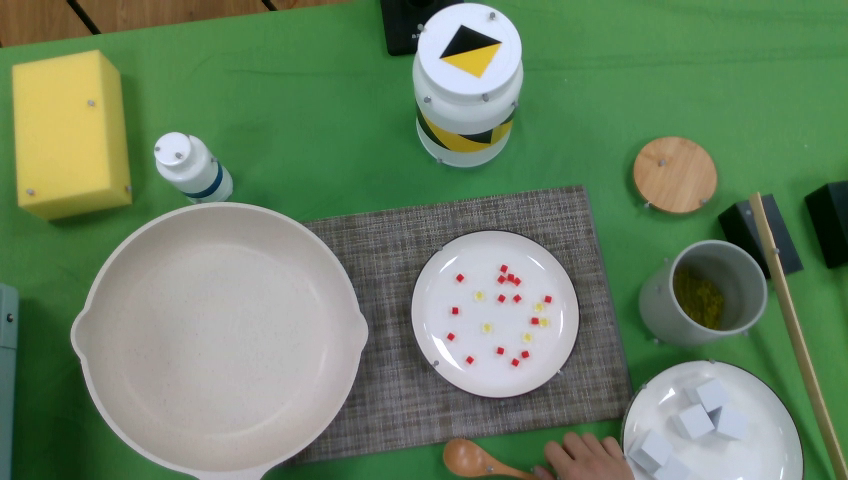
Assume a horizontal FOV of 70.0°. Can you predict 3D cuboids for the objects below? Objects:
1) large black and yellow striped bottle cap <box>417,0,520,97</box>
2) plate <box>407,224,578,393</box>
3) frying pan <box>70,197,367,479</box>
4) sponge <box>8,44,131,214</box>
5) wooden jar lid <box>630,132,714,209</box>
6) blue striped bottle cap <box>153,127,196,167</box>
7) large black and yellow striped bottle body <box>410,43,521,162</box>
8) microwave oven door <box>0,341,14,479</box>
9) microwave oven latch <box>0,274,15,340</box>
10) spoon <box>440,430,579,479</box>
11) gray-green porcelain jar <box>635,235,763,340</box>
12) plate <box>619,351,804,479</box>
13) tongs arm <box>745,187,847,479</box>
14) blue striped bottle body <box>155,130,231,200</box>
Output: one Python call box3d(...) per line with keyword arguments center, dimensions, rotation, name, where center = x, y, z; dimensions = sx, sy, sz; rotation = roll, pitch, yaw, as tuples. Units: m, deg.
box3d(center=(0.049, -0.214, 0.671), dimensions=(0.115, 0.019, 0.114), rotation=(0, 76, 1), name="large black and yellow striped bottle cap")
box3d(center=(0.083, 0.083, 0.750), dimensions=(0.209, 0.038, 0.208), rotation=(0, 75, 1), name="plate")
box3d(center=(-0.207, 0.197, 0.642), dimensions=(0.309, 0.103, 0.484), rotation=(5, 67, -28), name="frying pan")
box3d(center=(-0.473, -0.148, 0.809), dimensions=(0.118, 0.061, 0.205), rotation=(-13, 76, -3), name="sponge")
box3d(center=(0.328, -0.092, 0.807), dimensions=(0.108, 0.021, 0.108), rotation=(0, 76, 1), name="wooden jar lid")
box3d(center=(-0.294, -0.110, 0.713), dimensions=(0.044, 0.021, 0.044), rotation=(0, 77, 0), name="blue striped bottle cap")
box3d(center=(0.050, -0.190, 0.752), dimensions=(0.131, 0.185, 0.130), rotation=(0, 74, 1), name="large black and yellow striped bottle body")
box3d(center=(-0.499, 0.265, 0.587), dimensions=(0.039, 0.245, 0.353), rotation=(-8, 75, -1), name="microwave oven door")
box3d(center=(-0.525, 0.082, 0.741), dimensions=(0.030, 0.029, 0.078), rotation=(-1, 75, 0), name="microwave oven latch")
box3d(center=(0.112, 0.268, 0.712), dimensions=(0.193, 0.022, 0.041), rotation=(16, 62, 5), name="spoon")
box3d(center=(0.314, 0.061, 0.711), dimensions=(0.106, 0.127, 0.105), rotation=(0, 75, 1), name="gray-green porcelain jar")
box3d(center=(0.330, 0.236, 0.710), dimensions=(0.208, 0.039, 0.206), rotation=(0, 75, 1), name="plate")
box3d(center=(0.455, 0.119, 0.711), dimensions=(0.051, 0.026, 0.384), rotation=(-12, 85, -5), name="tongs arm")
box3d(center=(-0.292, -0.095, 0.762), dimensions=(0.063, 0.121, 0.062), rotation=(0, 74, 1), name="blue striped bottle body")
